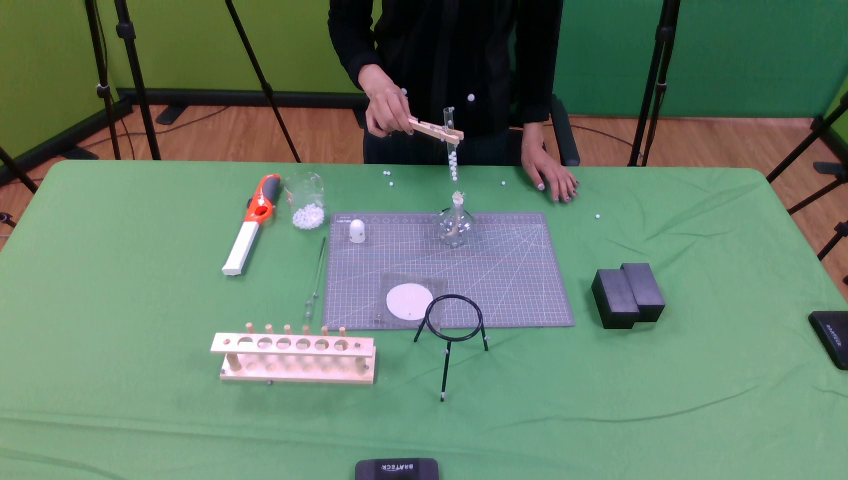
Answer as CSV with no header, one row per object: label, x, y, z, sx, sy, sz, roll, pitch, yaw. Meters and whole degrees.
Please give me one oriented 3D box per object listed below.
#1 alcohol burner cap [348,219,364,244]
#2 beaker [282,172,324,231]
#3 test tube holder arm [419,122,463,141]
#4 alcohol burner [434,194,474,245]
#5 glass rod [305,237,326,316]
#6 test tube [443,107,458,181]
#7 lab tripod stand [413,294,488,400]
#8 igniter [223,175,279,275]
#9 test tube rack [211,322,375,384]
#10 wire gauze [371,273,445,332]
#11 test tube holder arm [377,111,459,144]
alcohol burner cap,-0.134,-0.019,1.190,0.034,0.048,0.033,2,46,-2
beaker,-0.234,-0.073,1.199,0.084,0.101,0.074,24,50,17
test tube holder arm,0.028,-0.191,1.069,0.087,0.015,0.010,18,40,22
alcohol burner,0.061,-0.046,1.183,0.078,0.119,0.077,3,47,-3
glass rod,-0.202,0.064,1.131,0.008,0.008,0.198,4,43,0
test tube,0.047,-0.166,1.071,0.017,0.151,0.017,-4,42,4
lab tripod stand,0.044,0.159,0.972,0.148,0.132,0.147,2,44,-2
igniter,-0.341,-0.039,1.206,0.057,0.025,0.275,-1,45,8
test tube rack,-0.203,0.176,0.969,0.242,0.085,0.066,3,46,-2
wire gauze,-0.028,0.108,1.100,0.125,0.011,0.121,8,45,4
test tube holder arm,-0.013,-0.203,1.084,0.177,0.015,0.013,22,42,27
